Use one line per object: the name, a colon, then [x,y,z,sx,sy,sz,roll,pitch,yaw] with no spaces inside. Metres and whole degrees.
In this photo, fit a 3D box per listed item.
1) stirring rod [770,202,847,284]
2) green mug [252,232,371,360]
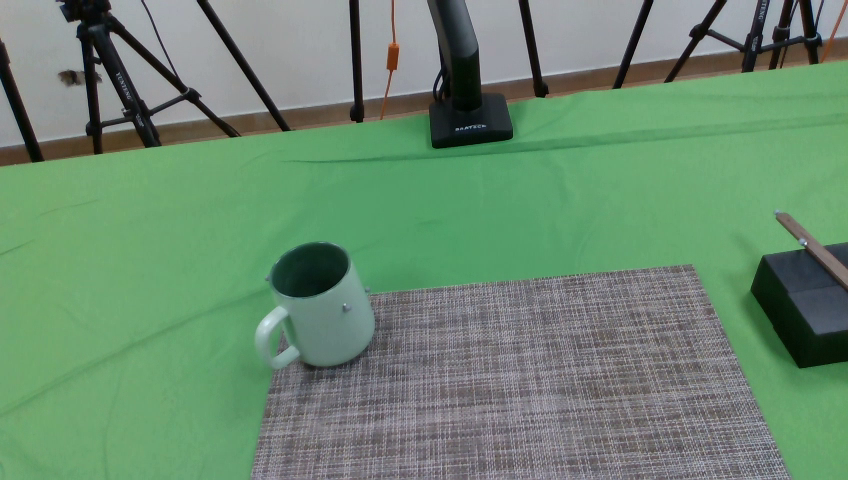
stirring rod: [0.384,0.019,0.567,0.014,0.006,0.174,-12,44,-7]
green mug: [-0.115,0.066,0.598,0.092,0.106,0.125,25,53,30]
